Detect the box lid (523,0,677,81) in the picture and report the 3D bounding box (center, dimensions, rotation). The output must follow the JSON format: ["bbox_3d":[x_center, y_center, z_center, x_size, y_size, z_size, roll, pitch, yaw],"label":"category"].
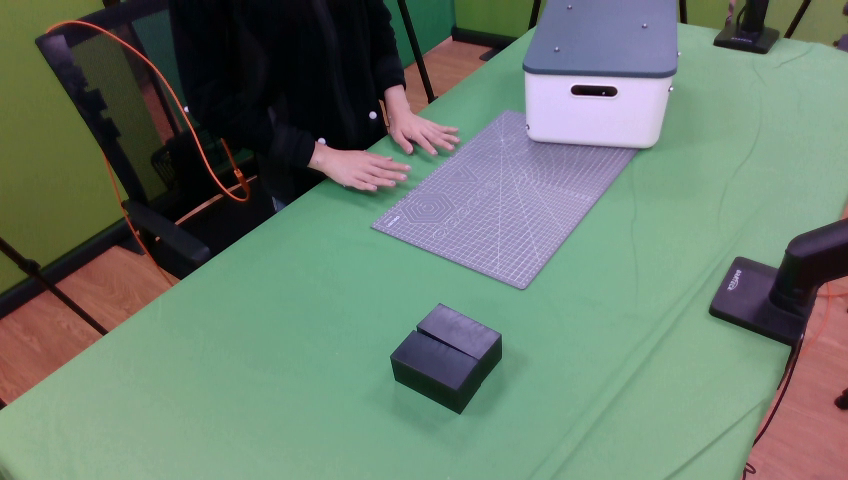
[{"bbox_3d":[0.347,-0.397,1.163,0.262,0.015,0.371,7,42,16],"label":"box lid"}]

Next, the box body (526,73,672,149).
[{"bbox_3d":[0.356,-0.342,1.212,0.253,0.161,0.363,7,42,17],"label":"box body"}]
